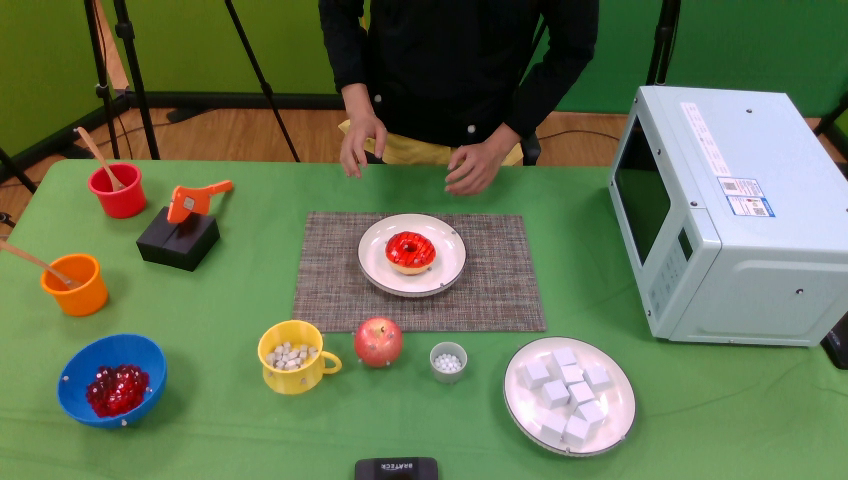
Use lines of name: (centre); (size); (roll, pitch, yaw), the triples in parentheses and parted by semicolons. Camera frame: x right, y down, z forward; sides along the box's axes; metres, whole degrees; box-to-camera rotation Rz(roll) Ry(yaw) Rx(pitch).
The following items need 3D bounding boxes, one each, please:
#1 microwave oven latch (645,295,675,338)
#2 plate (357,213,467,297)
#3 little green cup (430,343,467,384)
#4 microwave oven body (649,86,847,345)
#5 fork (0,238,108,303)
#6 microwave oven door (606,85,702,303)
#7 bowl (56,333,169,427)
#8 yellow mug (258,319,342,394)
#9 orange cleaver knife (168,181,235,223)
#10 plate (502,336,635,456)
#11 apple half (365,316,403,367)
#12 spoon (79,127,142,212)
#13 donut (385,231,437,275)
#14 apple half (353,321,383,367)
microwave oven latch: (0.412, 0.134, 1.061); (0.030, 0.029, 0.078); (3, 45, 0)
plate: (-0.023, 0.032, 1.150); (0.209, 0.038, 0.208); (2, 46, -2)
little green cup: (0.039, 0.203, 0.994); (0.061, 0.039, 0.061); (2, 46, -2)
microwave oven body: (0.568, -0.053, 1.118); (0.326, 0.261, 0.439); (2, 45, -1)
fork: (-0.633, 0.048, 1.017); (0.208, 0.018, 0.028); (40, 41, -27)
microwave oven door: (0.422, -0.094, 1.140); (0.039, 0.245, 0.353); (2, 46, -1)
bowl: (-0.456, 0.223, 0.912); (0.151, 0.077, 0.150); (3, 46, -2)
yellow mug: (-0.195, 0.188, 0.972); (0.131, 0.064, 0.099); (8, 46, 4)
orange cleaver knife: (-0.436, -0.078, 1.196); (0.012, 0.077, 0.211); (16, 15, 10)
plate: (0.225, 0.248, 0.963); (0.208, 0.039, 0.206); (2, 46, -2)
apple half: (-0.063, 0.165, 1.000); (0.053, 0.075, 0.080); (-16, 45, -24)
spoon: (-0.624, -0.140, 1.203); (0.041, 0.021, 0.194); (-33, 100, -26)
donut: (-0.025, 0.024, 1.141); (0.099, 0.048, 0.098); (3, 44, -3)
apple half: (-0.098, 0.177, 0.984); (0.033, 0.081, 0.081); (-17, 49, -25)
